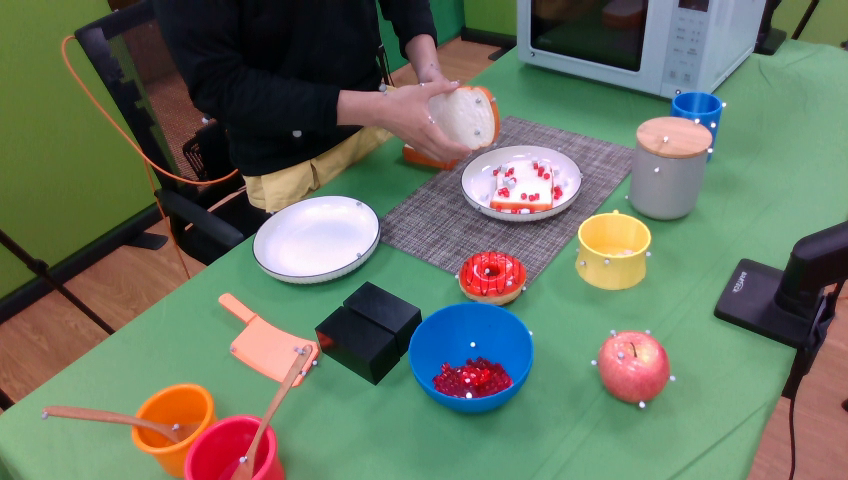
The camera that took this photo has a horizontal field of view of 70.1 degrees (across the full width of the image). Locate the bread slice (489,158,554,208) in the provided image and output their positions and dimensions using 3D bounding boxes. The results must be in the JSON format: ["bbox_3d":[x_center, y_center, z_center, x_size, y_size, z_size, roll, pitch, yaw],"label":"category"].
[{"bbox_3d":[0.172,-0.101,1.046,0.104,0.019,0.131,3,41,12],"label":"bread slice"}]

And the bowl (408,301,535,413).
[{"bbox_3d":[0.060,0.156,0.739,0.151,0.077,0.150,-4,40,4],"label":"bowl"}]

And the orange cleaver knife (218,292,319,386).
[{"bbox_3d":[-0.234,0.136,0.850,0.209,0.012,0.077,25,56,30],"label":"orange cleaver knife"}]

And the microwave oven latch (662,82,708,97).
[{"bbox_3d":[0.518,-0.298,1.203,0.078,0.029,0.030,28,53,35],"label":"microwave oven latch"}]

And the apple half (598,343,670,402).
[{"bbox_3d":[0.247,0.161,0.710,0.081,0.075,0.053,1,47,5],"label":"apple half"}]

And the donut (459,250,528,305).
[{"bbox_3d":[0.100,0.053,0.873,0.099,0.048,0.098,-5,40,4],"label":"donut"}]

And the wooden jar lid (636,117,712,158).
[{"bbox_3d":[0.377,-0.151,0.917,0.108,0.021,0.108,-2,41,2],"label":"wooden jar lid"}]

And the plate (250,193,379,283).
[{"bbox_3d":[-0.174,0.000,0.984,0.209,0.038,0.208,-4,40,4],"label":"plate"}]

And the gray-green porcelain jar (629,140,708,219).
[{"bbox_3d":[0.383,-0.105,0.958,0.106,0.127,0.105,-4,41,4],"label":"gray-green porcelain jar"}]

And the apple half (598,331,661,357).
[{"bbox_3d":[0.249,0.134,0.738,0.081,0.081,0.032,-1,46,7],"label":"apple half"}]

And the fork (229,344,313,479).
[{"bbox_3d":[-0.173,0.205,0.662,0.028,0.019,0.207,29,94,36],"label":"fork"}]

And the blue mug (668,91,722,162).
[{"bbox_3d":[0.474,-0.207,1.079,0.082,0.106,0.116,4,42,13],"label":"blue mug"}]

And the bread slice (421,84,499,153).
[{"bbox_3d":[0.059,-0.197,0.959,0.133,0.107,0.018,0,26,43],"label":"bread slice"}]

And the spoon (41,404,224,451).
[{"bbox_3d":[-0.321,0.206,0.681,0.021,0.195,0.041,-47,36,23],"label":"spoon"}]

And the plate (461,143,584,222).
[{"bbox_3d":[0.168,-0.095,1.040,0.207,0.039,0.206,-4,41,4],"label":"plate"}]

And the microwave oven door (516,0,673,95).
[{"bbox_3d":[0.344,-0.458,1.257,0.353,0.245,0.039,26,52,33],"label":"microwave oven door"}]

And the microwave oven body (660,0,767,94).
[{"bbox_3d":[0.473,-0.517,1.314,0.438,0.261,0.327,26,51,34],"label":"microwave oven body"}]

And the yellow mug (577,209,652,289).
[{"bbox_3d":[0.279,0.005,0.893,0.099,0.064,0.130,5,41,15],"label":"yellow mug"}]
